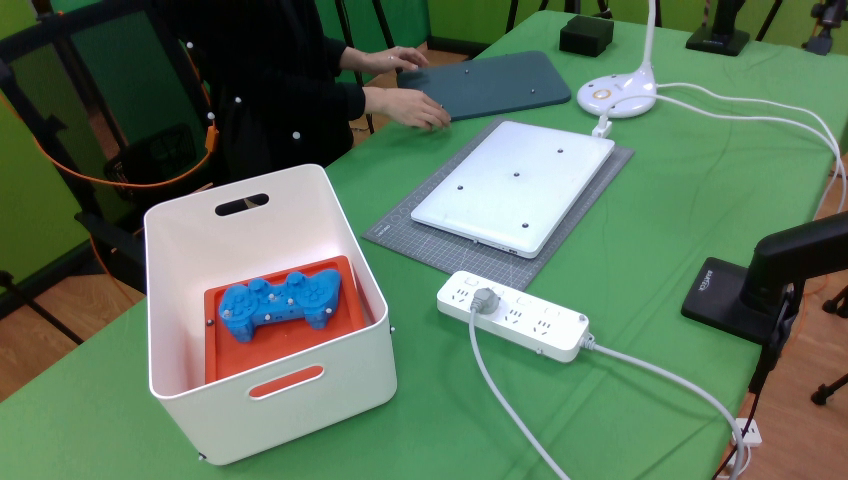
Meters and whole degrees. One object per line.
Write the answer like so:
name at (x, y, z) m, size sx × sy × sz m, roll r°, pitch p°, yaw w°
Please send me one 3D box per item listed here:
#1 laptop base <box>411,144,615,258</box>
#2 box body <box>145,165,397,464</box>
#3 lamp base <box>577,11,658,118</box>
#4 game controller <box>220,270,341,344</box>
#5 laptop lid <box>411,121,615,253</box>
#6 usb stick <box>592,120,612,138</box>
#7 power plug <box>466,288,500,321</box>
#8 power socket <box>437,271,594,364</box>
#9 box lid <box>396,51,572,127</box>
laptop base at (0.167, -0.102, 1.074) m, size 0.234 × 0.023 × 0.355 m, roll 16°, pitch 45°, yaw 30°
box body at (-0.205, 0.080, 0.802) m, size 0.255 × 0.161 × 0.361 m, roll -18°, pitch 41°, yaw -13°
lamp base at (0.406, -0.363, 1.222) m, size 0.180 × 0.181 × 0.159 m, roll -20°, pitch 42°, yaw -18°
game controller at (-0.186, 0.076, 0.778) m, size 0.155 × 0.052 × 0.096 m, roll -9°, pitch 44°, yaw -2°
laptop lid at (0.164, -0.112, 1.068) m, size 0.240 × 0.013 × 0.357 m, roll 19°, pitch 46°, yaw 31°
usb stick at (0.335, -0.203, 1.149) m, size 0.021 × 0.027 × 0.059 m, roll 25°, pitch 53°, yaw 26°
power plug at (0.072, 0.093, 0.813) m, size 0.073 × 0.053 × 0.035 m, roll -37°, pitch 49°, yaw -28°
power socket at (0.118, 0.102, 0.830) m, size 0.225 × 0.033 × 0.072 m, roll 20°, pitch 48°, yaw 28°
box lid at (0.128, -0.350, 1.380) m, size 0.372 × 0.015 × 0.261 m, roll -10°, pitch 41°, yaw -2°
